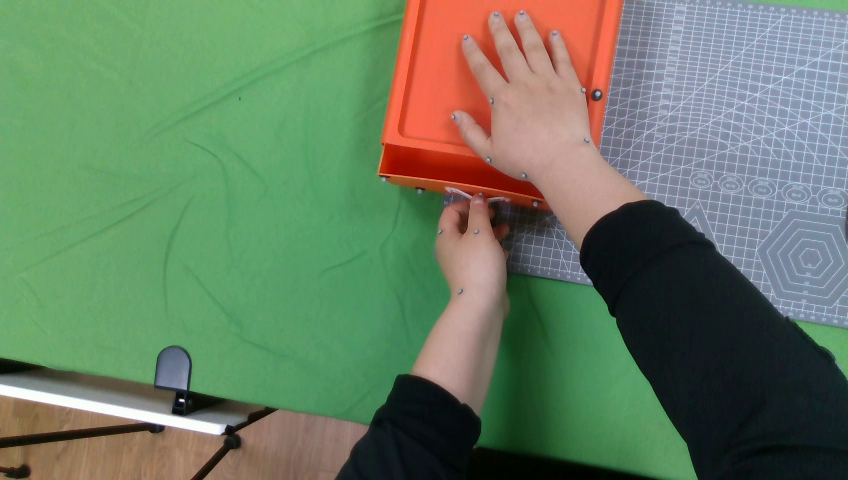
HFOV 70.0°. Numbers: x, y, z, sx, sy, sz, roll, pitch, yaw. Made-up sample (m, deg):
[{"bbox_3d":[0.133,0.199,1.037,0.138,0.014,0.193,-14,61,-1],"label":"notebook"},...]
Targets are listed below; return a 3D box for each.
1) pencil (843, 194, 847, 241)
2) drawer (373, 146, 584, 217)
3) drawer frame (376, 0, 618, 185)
[{"bbox_3d":[0.415,-0.094,0.574,0.012,0.012,0.194,10,91,9],"label":"pencil"},{"bbox_3d":[0.068,-0.139,0.589,0.194,0.073,0.211,10,88,9],"label":"drawer"},{"bbox_3d":[0.073,-0.170,0.588,0.201,0.083,0.213,9,88,9],"label":"drawer frame"}]
